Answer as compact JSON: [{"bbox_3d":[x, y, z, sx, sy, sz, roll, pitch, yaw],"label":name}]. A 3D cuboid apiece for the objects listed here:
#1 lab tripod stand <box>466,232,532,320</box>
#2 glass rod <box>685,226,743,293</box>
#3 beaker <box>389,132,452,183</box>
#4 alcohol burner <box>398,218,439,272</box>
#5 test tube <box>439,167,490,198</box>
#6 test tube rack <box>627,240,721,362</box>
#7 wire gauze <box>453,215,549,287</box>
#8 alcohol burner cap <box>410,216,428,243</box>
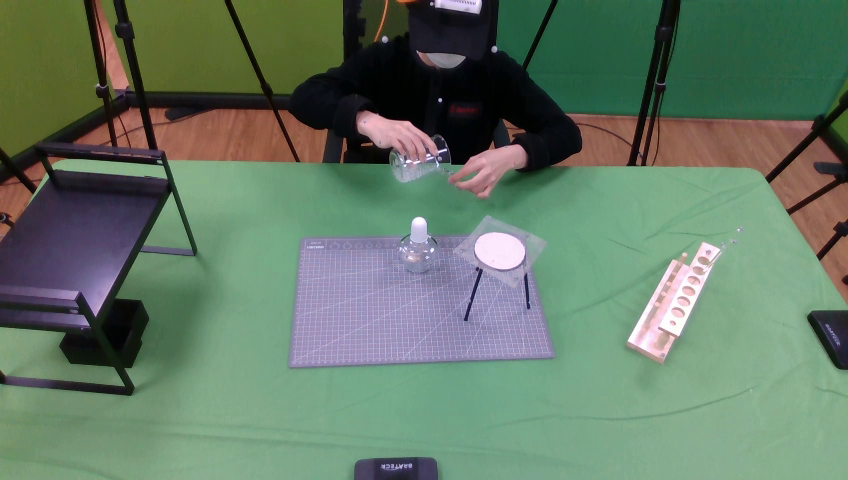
[{"bbox_3d":[0.125,0.059,1.065,0.148,0.132,0.147,1,45,0],"label":"lab tripod stand"},{"bbox_3d":[0.501,0.040,1.054,0.008,0.200,0.008,4,53,-5],"label":"glass rod"},{"bbox_3d":[-0.009,-0.151,1.150,0.100,0.084,0.073,-19,40,-19],"label":"beaker"},{"bbox_3d":[-0.010,0.004,1.123,0.078,0.120,0.077,1,47,0],"label":"alcohol burner"},{"bbox_3d":[0.085,-0.116,1.238,0.151,0.017,0.017,22,31,-41],"label":"test tube"},{"bbox_3d":[0.452,0.098,1.087,0.066,0.085,0.242,28,51,22],"label":"test tube rack"},{"bbox_3d":[0.129,0.012,1.017,0.124,0.011,0.121,28,50,23],"label":"wire gauze"},{"bbox_3d":[-0.009,-0.022,1.099,0.034,0.048,0.033,2,41,-1],"label":"alcohol burner cap"}]
